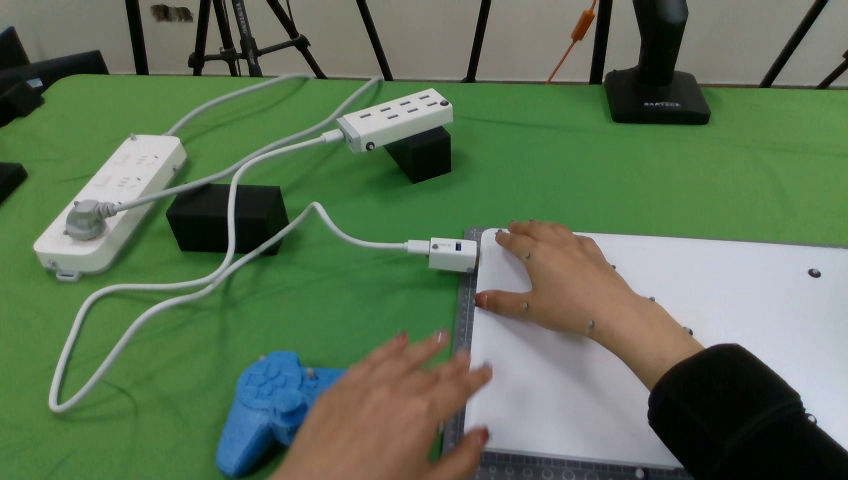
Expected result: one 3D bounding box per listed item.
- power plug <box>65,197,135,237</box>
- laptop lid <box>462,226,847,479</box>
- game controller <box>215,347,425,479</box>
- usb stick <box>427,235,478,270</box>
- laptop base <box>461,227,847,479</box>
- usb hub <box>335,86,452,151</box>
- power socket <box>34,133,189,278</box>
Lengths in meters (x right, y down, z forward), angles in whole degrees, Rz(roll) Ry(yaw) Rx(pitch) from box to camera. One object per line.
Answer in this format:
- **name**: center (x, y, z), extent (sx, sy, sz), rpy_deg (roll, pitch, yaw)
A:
- **power plug**: center (-0.318, -0.014, 0.595), extent (0.072, 0.053, 0.035), rpy_deg (14, 45, 14)
- **laptop lid**: center (0.215, 0.077, 0.502), extent (0.356, 0.013, 0.239), rpy_deg (5, 46, 8)
- **game controller**: center (-0.073, 0.126, 0.458), extent (0.155, 0.052, 0.096), rpy_deg (4, 39, 5)
- **usb stick**: center (0.033, 0.013, 0.575), extent (0.059, 0.027, 0.021), rpy_deg (7, 42, -3)
- **laptop base**: center (0.216, 0.084, 0.511), extent (0.354, 0.023, 0.233), rpy_deg (4, 47, 6)
- **usb hub**: center (-0.033, -0.138, 0.684), extent (0.125, 0.025, 0.049), rpy_deg (-23, 48, -19)
- **power socket**: center (-0.336, -0.049, 0.668), extent (0.072, 0.033, 0.225), rpy_deg (6, 43, 7)
